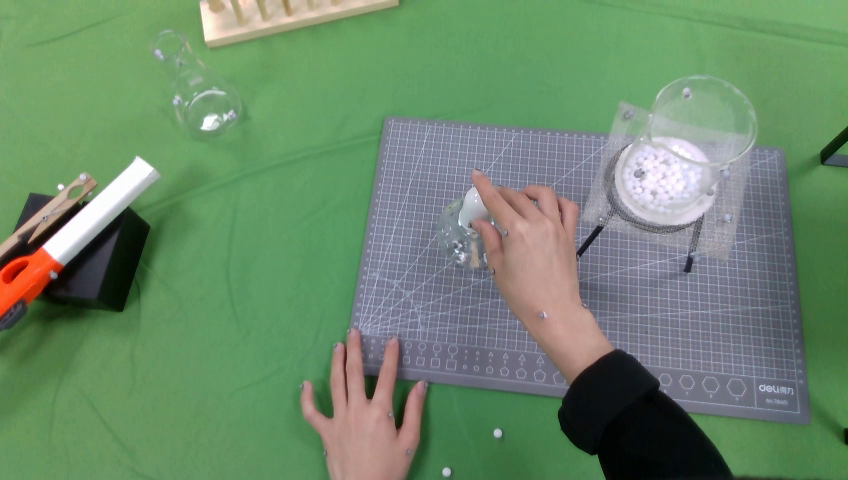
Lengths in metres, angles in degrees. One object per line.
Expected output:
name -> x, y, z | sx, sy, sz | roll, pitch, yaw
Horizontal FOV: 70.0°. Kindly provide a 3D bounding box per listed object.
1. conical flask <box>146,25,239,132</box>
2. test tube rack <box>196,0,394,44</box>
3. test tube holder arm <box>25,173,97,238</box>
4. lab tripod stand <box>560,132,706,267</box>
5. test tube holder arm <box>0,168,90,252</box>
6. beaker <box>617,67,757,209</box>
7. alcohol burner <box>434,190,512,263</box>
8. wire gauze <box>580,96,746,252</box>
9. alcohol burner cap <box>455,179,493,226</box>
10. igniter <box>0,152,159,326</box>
conical flask -> -0.257, -0.179, 0.661 | 0.075, 0.123, 0.075 | -1, 69, 2
test tube rack -> -0.163, -0.317, 0.730 | 0.242, 0.086, 0.066 | -14, 69, -3
test tube holder arm -> -0.370, -0.035, 0.614 | 0.087, 0.015, 0.010 | -45, 104, -14
lab tripod stand -> 0.204, -0.031, 0.581 | 0.148, 0.132, 0.147 | 0, 68, 1
test tube holder arm -> -0.404, -0.008, 0.602 | 0.178, 0.015, 0.013 | -46, 104, -13
beaker -> 0.195, -0.072, 0.474 | 0.084, 0.101, 0.073 | -17, 70, -4
alcohol burner -> 0.049, -0.022, 0.593 | 0.078, 0.120, 0.077 | 0, 67, 0
wire gauze -> 0.209, -0.058, 0.520 | 0.121, 0.011, 0.124 | 19, 69, 6
alcohol burner cap -> 0.048, -0.037, 0.560 | 0.034, 0.048, 0.033 | 2, 62, -4
igniter -> -0.374, 0.018, 0.592 | 0.057, 0.025, 0.276 | 34, 73, 23
